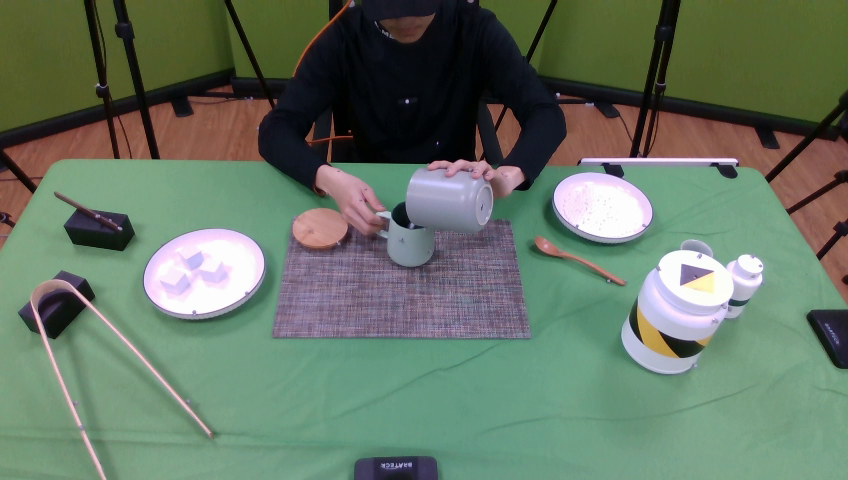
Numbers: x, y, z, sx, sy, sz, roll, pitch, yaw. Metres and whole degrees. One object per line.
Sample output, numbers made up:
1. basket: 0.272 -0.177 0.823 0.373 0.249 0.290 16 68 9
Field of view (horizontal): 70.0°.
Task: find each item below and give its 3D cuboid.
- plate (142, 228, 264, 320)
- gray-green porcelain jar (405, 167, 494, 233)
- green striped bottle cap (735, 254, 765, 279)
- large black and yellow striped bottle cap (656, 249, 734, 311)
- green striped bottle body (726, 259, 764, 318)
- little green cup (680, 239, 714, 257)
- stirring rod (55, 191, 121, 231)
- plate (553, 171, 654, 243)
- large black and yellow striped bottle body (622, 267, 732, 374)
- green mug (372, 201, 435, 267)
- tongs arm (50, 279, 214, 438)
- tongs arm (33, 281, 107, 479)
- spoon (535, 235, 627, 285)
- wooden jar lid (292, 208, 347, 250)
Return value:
1. plate: -0.394 0.064 1.095 0.208 0.039 0.206 2 46 -2
2. gray-green porcelain jar: 0.048 -0.069 1.040 0.126 0.106 0.105 9 44 28
3. green striped bottle cap: 0.566 0.046 1.051 0.044 0.020 0.044 0 45 0
4. large black and yellow striped bottle cap: 0.419 0.061 0.938 0.115 0.019 0.114 2 47 -2
5. green striped bottle body: 0.563 0.081 1.089 0.063 0.120 0.063 2 46 -2
6. little green cup: 0.530 0.033 1.189 0.061 0.039 0.061 2 47 -2
7. stirring rod: -0.632 -0.055 1.138 0.175 0.014 0.006 24 51 19
8. plate: 0.373 -0.066 1.275 0.209 0.038 0.208 2 46 -2
9. large black and yellow striped bottle body: 0.415 0.119 0.997 0.131 0.185 0.130 2 46 -2
10. green mug: -0.040 -0.016 1.145 0.125 0.105 0.092 17 48 12
11. tongs arm: -0.459 0.178 0.949 0.386 0.028 0.028 37 60 17
12. tongs arm: -0.517 0.214 0.910 0.051 0.026 0.383 -28 63 -27
13. spoon: 0.303 0.040 1.178 0.193 0.022 0.041 26 34 20
14. wooden jar lid: -0.205 -0.020 1.197 0.108 0.021 0.107 3 46 -3
